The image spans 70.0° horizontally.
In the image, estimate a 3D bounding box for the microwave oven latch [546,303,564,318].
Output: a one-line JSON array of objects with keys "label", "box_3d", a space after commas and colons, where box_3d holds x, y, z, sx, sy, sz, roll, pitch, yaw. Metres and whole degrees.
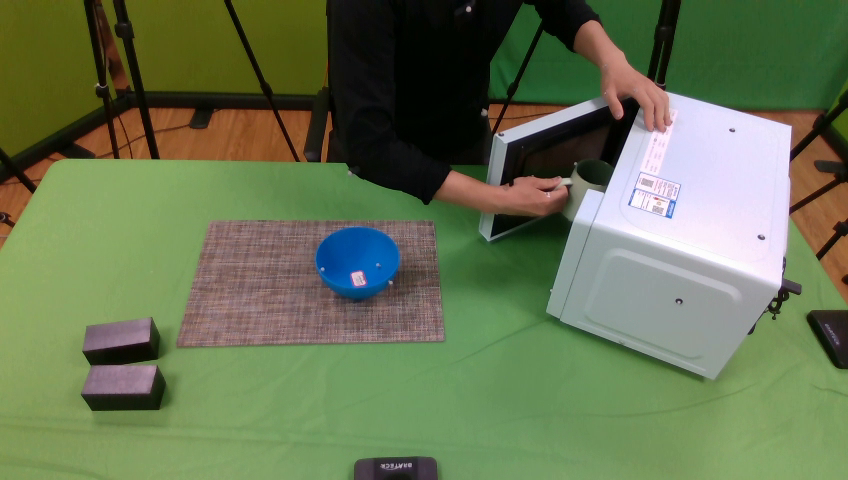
[{"label": "microwave oven latch", "box_3d": [0.242, 0.102, 1.081, 0.030, 0.029, 0.079, 21, 48, 17]}]

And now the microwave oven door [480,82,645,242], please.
[{"label": "microwave oven door", "box_3d": [0.273, -0.155, 1.188, 0.356, 0.245, 0.039, -23, 51, -24]}]

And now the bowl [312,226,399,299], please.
[{"label": "bowl", "box_3d": [-0.120, 0.054, 1.091, 0.151, 0.077, 0.150, 2, 46, -2]}]

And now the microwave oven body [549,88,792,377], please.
[{"label": "microwave oven body", "box_3d": [0.456, -0.028, 1.088, 0.325, 0.261, 0.440, 20, 47, 16]}]
